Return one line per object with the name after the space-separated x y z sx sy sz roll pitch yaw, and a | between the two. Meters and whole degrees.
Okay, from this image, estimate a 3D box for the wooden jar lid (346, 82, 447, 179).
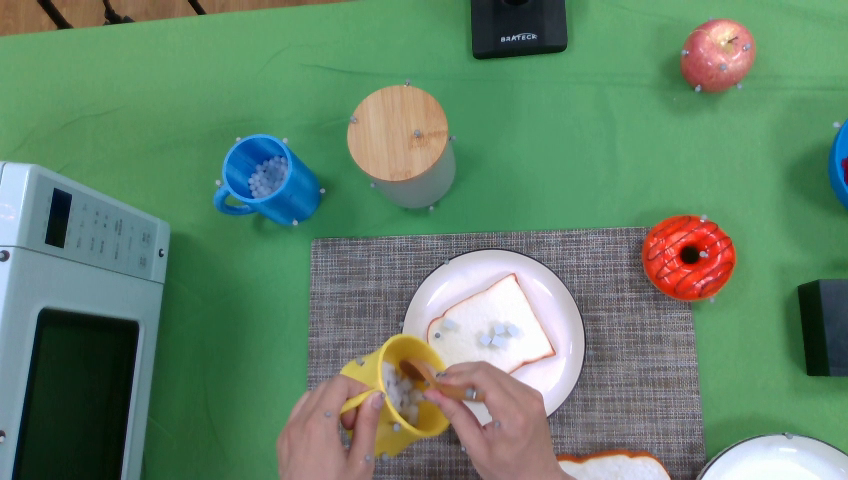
-0.029 -0.114 0.644 0.108 0.021 0.108 -2 77 8 | wooden jar lid

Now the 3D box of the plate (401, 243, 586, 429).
0.078 0.108 0.693 0.207 0.039 0.206 -1 79 8 | plate

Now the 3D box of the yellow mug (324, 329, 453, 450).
-0.038 0.144 0.573 0.064 0.131 0.099 -33 72 34 | yellow mug

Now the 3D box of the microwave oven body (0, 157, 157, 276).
-0.507 0.157 0.647 0.325 0.261 0.440 1 80 7 | microwave oven body

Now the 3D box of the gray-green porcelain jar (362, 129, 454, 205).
-0.020 -0.101 0.705 0.106 0.127 0.105 -1 78 8 | gray-green porcelain jar

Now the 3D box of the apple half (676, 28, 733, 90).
0.317 -0.201 0.705 0.033 0.081 0.081 -34 76 -5 | apple half

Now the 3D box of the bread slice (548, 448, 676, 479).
0.202 0.273 0.621 0.135 0.018 0.106 -6 75 -14 | bread slice

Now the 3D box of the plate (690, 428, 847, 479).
0.370 0.298 0.621 0.209 0.038 0.208 -1 79 7 | plate

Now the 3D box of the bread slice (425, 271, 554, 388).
0.069 0.110 0.695 0.131 0.019 0.104 -28 77 1 | bread slice

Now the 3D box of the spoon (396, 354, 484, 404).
0.013 0.124 0.530 0.042 0.193 0.021 35 80 -13 | spoon

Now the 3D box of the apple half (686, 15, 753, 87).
0.348 -0.224 0.706 0.053 0.075 0.080 -33 72 -5 | apple half

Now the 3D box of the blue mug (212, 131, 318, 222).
-0.197 -0.066 0.732 0.116 0.106 0.082 -27 76 2 | blue mug

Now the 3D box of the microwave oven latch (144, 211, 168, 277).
-0.339 0.005 0.753 0.030 0.029 0.079 3 80 8 | microwave oven latch

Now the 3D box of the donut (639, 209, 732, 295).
0.291 0.014 0.679 0.099 0.048 0.098 -1 80 8 | donut

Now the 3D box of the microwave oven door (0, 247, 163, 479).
-0.365 0.200 0.614 0.039 0.245 0.354 1 79 8 | microwave oven door

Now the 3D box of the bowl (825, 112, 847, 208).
0.503 -0.079 0.655 0.151 0.077 0.150 -1 79 8 | bowl
